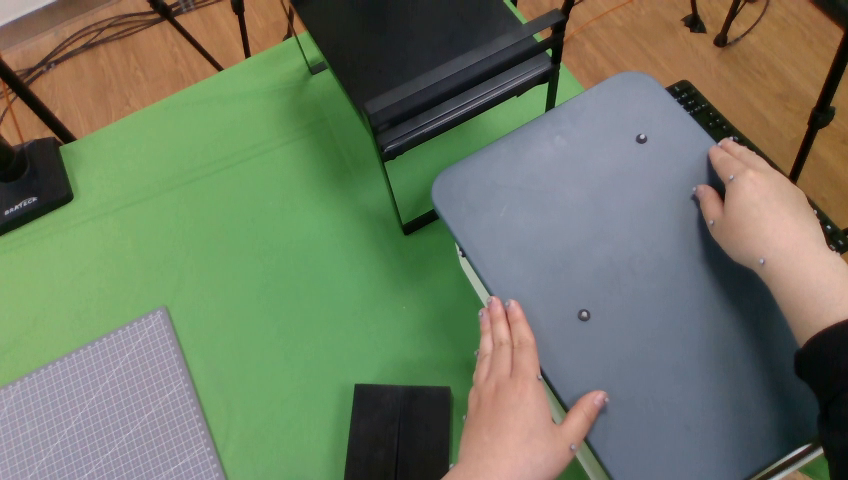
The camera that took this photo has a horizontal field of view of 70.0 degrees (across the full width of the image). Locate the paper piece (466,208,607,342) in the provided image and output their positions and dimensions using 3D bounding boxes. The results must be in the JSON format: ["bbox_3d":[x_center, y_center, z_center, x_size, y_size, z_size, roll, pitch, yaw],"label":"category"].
[{"bbox_3d":[0.134,0.038,0.719,0.136,0.009,0.137,-16,77,-9],"label":"paper piece"}]

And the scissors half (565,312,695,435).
[{"bbox_3d":[0.217,0.137,0.650,0.040,0.013,0.173,-38,62,-18],"label":"scissors half"}]

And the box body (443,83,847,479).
[{"bbox_3d":[0.213,0.059,0.606,0.254,0.161,0.360,-28,66,-7],"label":"box body"}]

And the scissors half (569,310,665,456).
[{"bbox_3d":[0.198,0.147,0.646,0.040,0.013,0.173,-21,58,-2],"label":"scissors half"}]

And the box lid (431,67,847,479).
[{"bbox_3d":[0.195,0.015,0.541,0.263,0.015,0.368,-29,66,-6],"label":"box lid"}]
